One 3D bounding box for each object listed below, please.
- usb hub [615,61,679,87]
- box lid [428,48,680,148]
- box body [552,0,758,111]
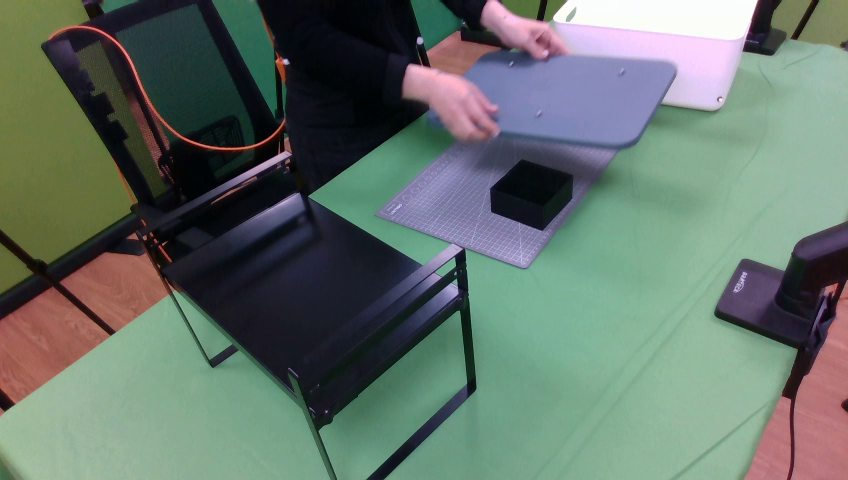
[{"bbox_3d":[0.483,-0.361,1.312,0.124,0.025,0.049,19,49,29],"label":"usb hub"},{"bbox_3d":[0.213,-0.253,1.027,0.369,0.015,0.263,14,48,30],"label":"box lid"},{"bbox_3d":[0.480,-0.417,1.282,0.362,0.161,0.254,16,46,25],"label":"box body"}]
